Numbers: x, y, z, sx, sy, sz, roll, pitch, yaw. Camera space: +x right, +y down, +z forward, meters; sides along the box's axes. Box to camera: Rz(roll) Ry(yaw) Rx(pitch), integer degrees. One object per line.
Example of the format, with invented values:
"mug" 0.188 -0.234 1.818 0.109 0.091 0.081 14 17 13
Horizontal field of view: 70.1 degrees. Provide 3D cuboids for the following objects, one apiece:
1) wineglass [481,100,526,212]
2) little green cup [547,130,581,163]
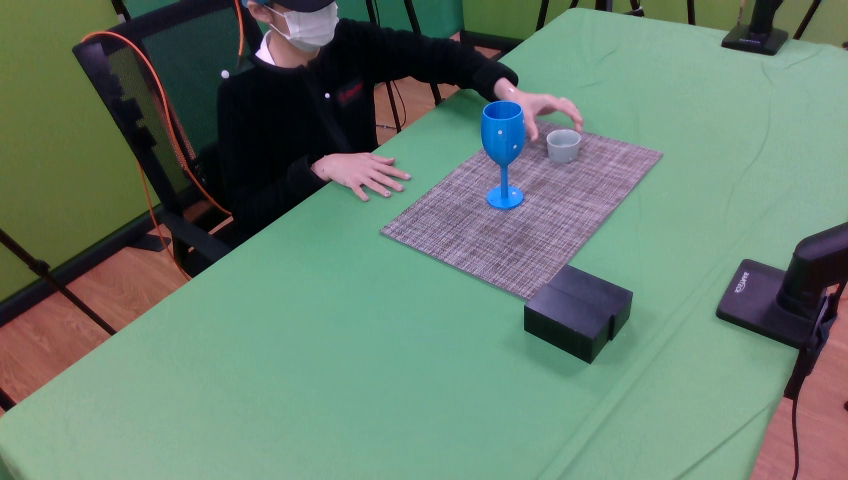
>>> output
"wineglass" 0.132 -0.137 0.993 0.074 0.173 0.073 -5 40 4
"little green cup" 0.259 -0.173 1.120 0.061 0.039 0.061 -4 41 4
